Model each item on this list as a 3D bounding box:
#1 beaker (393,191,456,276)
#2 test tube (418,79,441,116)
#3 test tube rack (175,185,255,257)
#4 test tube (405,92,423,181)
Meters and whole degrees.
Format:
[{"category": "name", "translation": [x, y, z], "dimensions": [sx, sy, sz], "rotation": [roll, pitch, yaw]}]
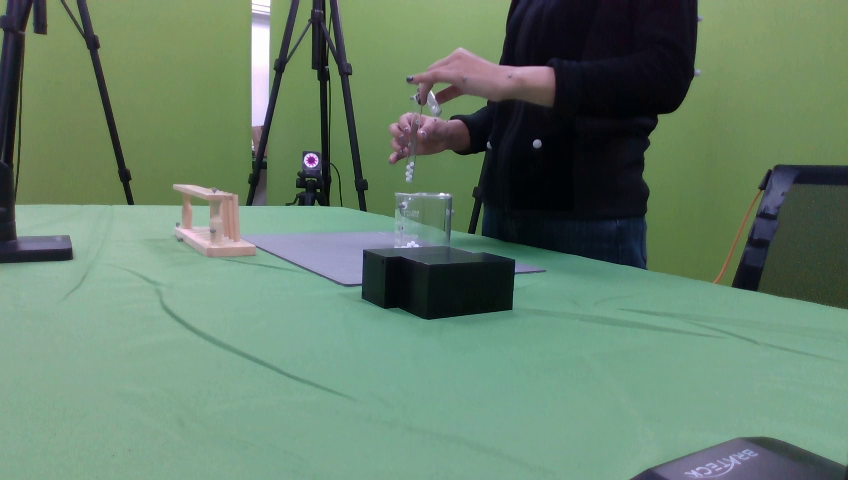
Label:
[{"category": "beaker", "translation": [-0.003, -0.010, 0.749], "dimensions": [0.074, 0.100, 0.083], "rotation": [-3, 8, -40]}, {"category": "test tube", "translation": [0.008, -0.218, 0.919], "dimensions": [0.017, 0.017, 0.150], "rotation": [1, 29, -9]}, {"category": "test tube rack", "translation": [-0.324, -0.035, 0.922], "dimensions": [0.067, 0.085, 0.241], "rotation": [-2, 9, -32]}, {"category": "test tube", "translation": [-0.018, -0.171, 1.007], "dimensions": [0.017, 0.150, 0.017], "rotation": [7, 22, -2]}]
